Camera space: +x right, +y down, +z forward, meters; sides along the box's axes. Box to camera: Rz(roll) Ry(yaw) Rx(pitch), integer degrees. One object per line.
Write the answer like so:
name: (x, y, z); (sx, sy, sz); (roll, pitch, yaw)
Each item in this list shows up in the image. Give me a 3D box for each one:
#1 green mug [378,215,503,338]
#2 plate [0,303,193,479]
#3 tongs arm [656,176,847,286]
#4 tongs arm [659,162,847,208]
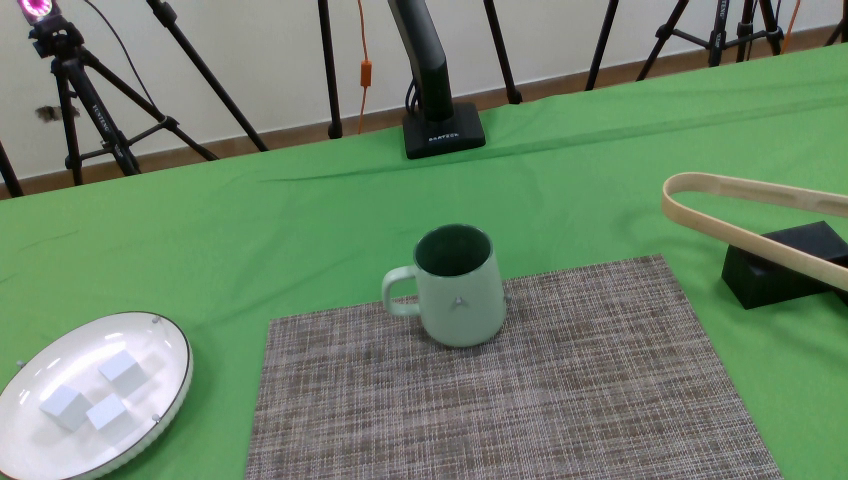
green mug: (0.016, 0.042, 0.616); (0.125, 0.106, 0.091); (-11, 43, 1)
plate: (-0.340, 0.155, 0.631); (0.209, 0.038, 0.207); (-6, 42, 6)
tongs arm: (0.382, 0.023, 0.546); (0.383, 0.028, 0.028); (30, 64, 36)
tongs arm: (0.428, -0.026, 0.585); (0.382, 0.027, 0.050); (18, 54, 29)
